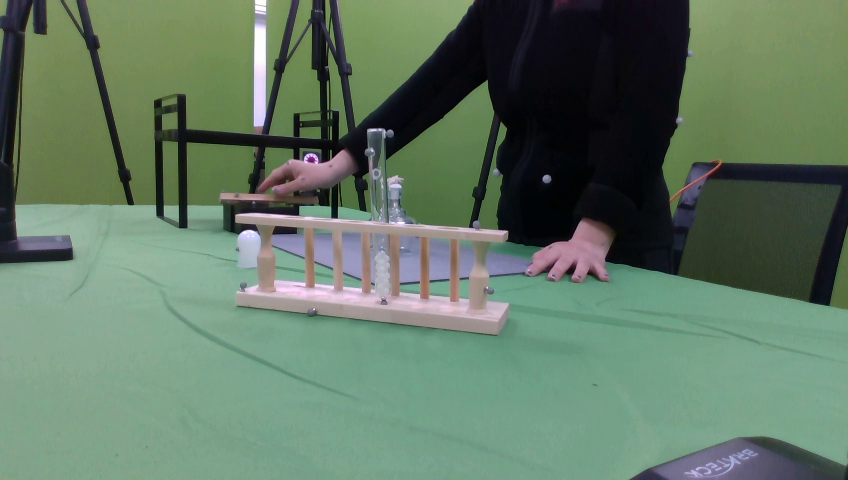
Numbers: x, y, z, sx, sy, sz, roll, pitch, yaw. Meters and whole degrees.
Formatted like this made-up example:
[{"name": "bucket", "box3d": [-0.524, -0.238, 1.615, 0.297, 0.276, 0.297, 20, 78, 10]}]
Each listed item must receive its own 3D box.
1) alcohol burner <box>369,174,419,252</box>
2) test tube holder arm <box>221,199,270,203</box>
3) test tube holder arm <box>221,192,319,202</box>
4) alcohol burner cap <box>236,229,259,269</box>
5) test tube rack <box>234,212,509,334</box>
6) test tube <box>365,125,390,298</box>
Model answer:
[{"name": "alcohol burner", "box3d": [-0.046, -0.041, 0.922, 0.078, 0.119, 0.078, 1, 10, 0]}, {"name": "test tube holder arm", "box3d": [-0.323, -0.074, 1.097, 0.088, 0.015, 0.010, -2, -24, -28]}, {"name": "test tube holder arm", "box3d": [-0.280, -0.078, 1.114, 0.179, 0.015, 0.013, -2, -24, -28]}, {"name": "alcohol burner cap", "box3d": [-0.220, 0.010, 0.759, 0.034, 0.048, 0.034, 0, 12, 0]}, {"name": "test tube rack", "box3d": [-0.046, 0.023, 0.547, 0.242, 0.085, 0.067, 4, 8, 15]}, {"name": "test tube", "box3d": [-0.040, -0.023, 0.523, 0.017, 0.150, 0.017, -2, 8, 1]}]
